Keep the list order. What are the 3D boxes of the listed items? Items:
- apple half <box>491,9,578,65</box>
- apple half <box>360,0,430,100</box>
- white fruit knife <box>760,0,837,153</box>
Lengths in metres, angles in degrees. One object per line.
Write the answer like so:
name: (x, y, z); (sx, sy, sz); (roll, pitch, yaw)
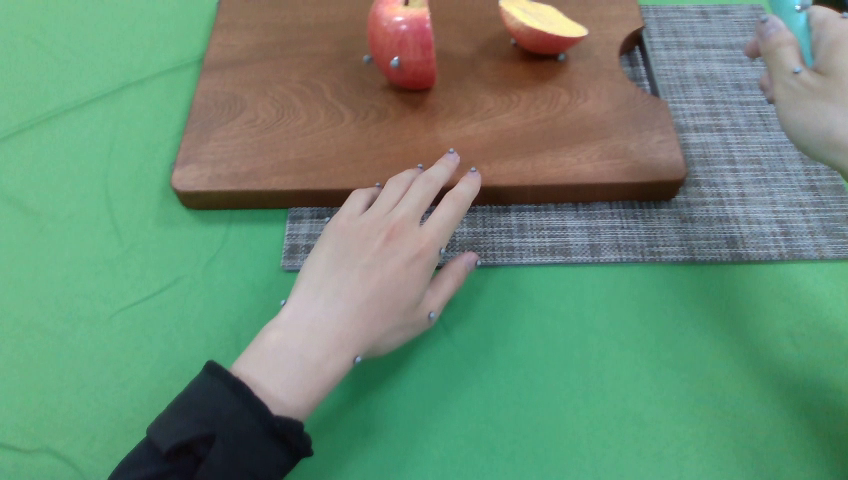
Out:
apple half: (0.090, -0.172, 0.530); (0.081, 0.033, 0.080); (13, 38, -10)
apple half: (-0.026, -0.157, 0.503); (0.053, 0.075, 0.080); (-9, 61, 0)
white fruit knife: (0.230, -0.159, 0.396); (0.016, 0.027, 0.207); (-17, 88, -9)
